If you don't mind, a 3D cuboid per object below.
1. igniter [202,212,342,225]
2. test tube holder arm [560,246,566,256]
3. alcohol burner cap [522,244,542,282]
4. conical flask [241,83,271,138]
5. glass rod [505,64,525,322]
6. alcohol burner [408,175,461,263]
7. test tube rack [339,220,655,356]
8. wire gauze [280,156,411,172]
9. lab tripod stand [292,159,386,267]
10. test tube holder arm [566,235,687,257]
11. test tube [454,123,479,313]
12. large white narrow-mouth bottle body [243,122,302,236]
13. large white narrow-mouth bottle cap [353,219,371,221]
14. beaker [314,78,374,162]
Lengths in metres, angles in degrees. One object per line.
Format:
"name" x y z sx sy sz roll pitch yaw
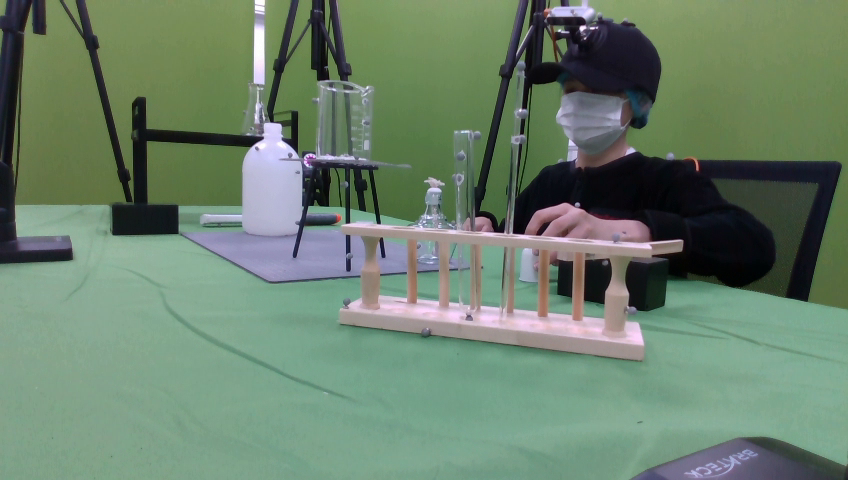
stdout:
"igniter" -0.298 -0.043 1.216 0.278 0.025 0.057 -3 -2 -32
"test tube holder arm" 0.173 0.007 0.611 0.088 0.015 0.010 -3 9 -30
"alcohol burner cap" 0.137 0.025 0.740 0.034 0.048 0.034 1 8 0
"conical flask" -0.383 -0.297 1.393 0.075 0.122 0.075 2 7 0
"glass rod" 0.069 -0.030 0.458 0.008 0.199 0.008 1 15 0
"alcohol burner" 0.014 -0.029 0.834 0.078 0.119 0.078 0 6 0
"test tube rack" 0.056 0.032 0.495 0.242 0.085 0.067 4 7 15
"wire gauze" -0.103 -0.103 0.785 0.121 0.011 0.126 11 8 42
"lab tripod stand" -0.104 -0.039 0.797 0.148 0.131 0.148 2 5 0
"test tube holder arm" 0.215 0.006 0.629 0.179 0.015 0.013 -3 9 -30
"test tube" 0.034 -0.016 0.477 0.017 0.150 0.017 -2 9 1
"large white narrow-mouth bottle body" -0.264 -0.109 1.061 0.102 0.194 0.102 2 8 0
"large white narrow-mouth bottle cap" -0.120 -0.029 1.184 0.038 0.024 0.037 2 8 0
"beaker" -0.101 -0.150 0.773 0.074 0.100 0.083 -2 8 -40
